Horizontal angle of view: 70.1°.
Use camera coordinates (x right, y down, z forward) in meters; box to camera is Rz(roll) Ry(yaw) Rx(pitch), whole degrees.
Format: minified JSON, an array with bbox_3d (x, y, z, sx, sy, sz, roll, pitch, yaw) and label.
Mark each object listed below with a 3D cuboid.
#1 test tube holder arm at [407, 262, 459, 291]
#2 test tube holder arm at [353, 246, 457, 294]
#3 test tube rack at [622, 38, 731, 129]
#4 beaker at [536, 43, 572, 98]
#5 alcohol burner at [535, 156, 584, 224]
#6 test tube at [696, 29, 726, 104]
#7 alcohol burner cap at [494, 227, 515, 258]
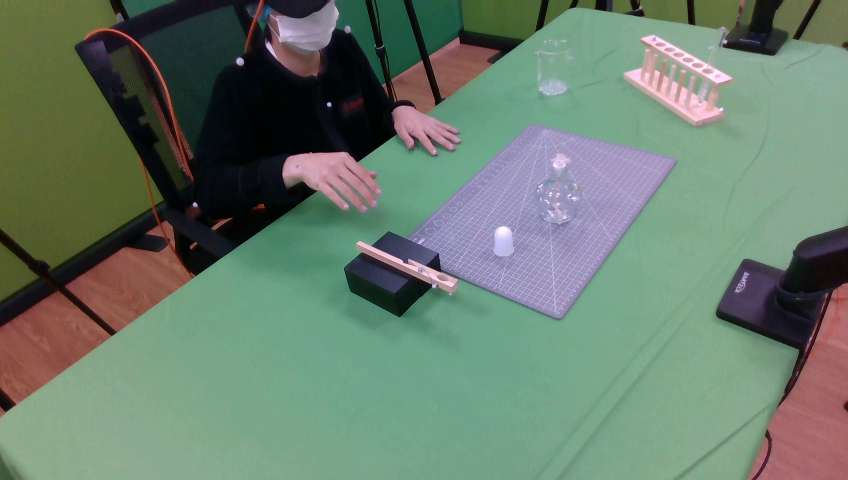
[{"bbox_3d":[0.010,0.051,0.845,0.087,0.015,0.010,19,36,28],"label":"test tube holder arm"},{"bbox_3d":[-0.031,0.040,0.862,0.177,0.015,0.013,18,36,27],"label":"test tube holder arm"},{"bbox_3d":[0.506,-0.325,1.234,0.067,0.085,0.240,-18,41,-11],"label":"test tube rack"},{"bbox_3d":[0.280,-0.368,1.311,0.074,0.101,0.084,4,41,14],"label":"beaker"},{"bbox_3d":[0.217,-0.085,0.967,0.078,0.119,0.077,-3,41,3],"label":"alcohol burner"},{"bbox_3d":[0.544,-0.326,1.150,0.017,0.151,0.017,0,41,1],"label":"test tube"},{"bbox_3d":[0.124,0.001,0.936,0.034,0.048,0.033,-4,40,4],"label":"alcohol burner cap"}]
